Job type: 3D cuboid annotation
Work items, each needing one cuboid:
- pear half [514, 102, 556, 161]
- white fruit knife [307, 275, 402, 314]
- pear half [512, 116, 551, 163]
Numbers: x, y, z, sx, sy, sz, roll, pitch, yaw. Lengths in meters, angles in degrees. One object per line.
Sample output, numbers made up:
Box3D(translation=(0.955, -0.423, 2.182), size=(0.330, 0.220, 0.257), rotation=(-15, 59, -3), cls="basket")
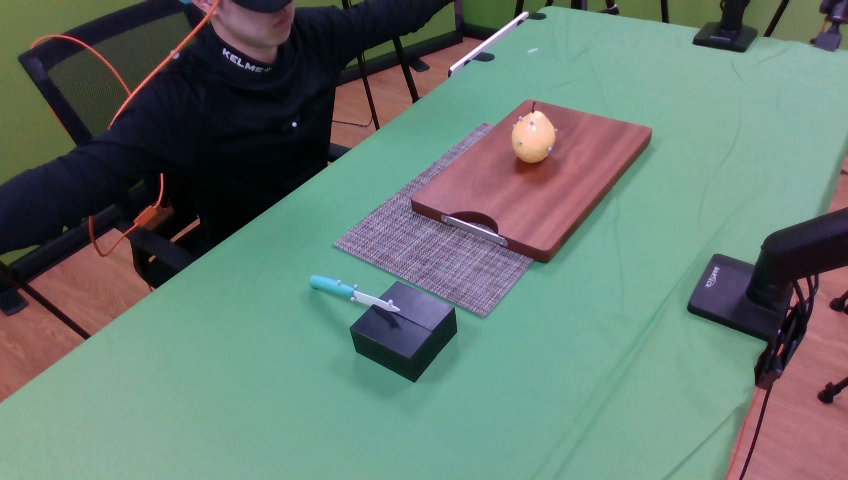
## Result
Box3D(translation=(0.196, -0.198, 1.060), size=(0.076, 0.110, 0.056), rotation=(13, 44, 17), cls="pear half")
Box3D(translation=(-0.102, 0.076, 0.847), size=(0.205, 0.027, 0.016), rotation=(11, 46, 43), cls="white fruit knife")
Box3D(translation=(0.182, -0.169, 1.043), size=(0.070, 0.088, 0.031), rotation=(12, 45, 18), cls="pear half")
